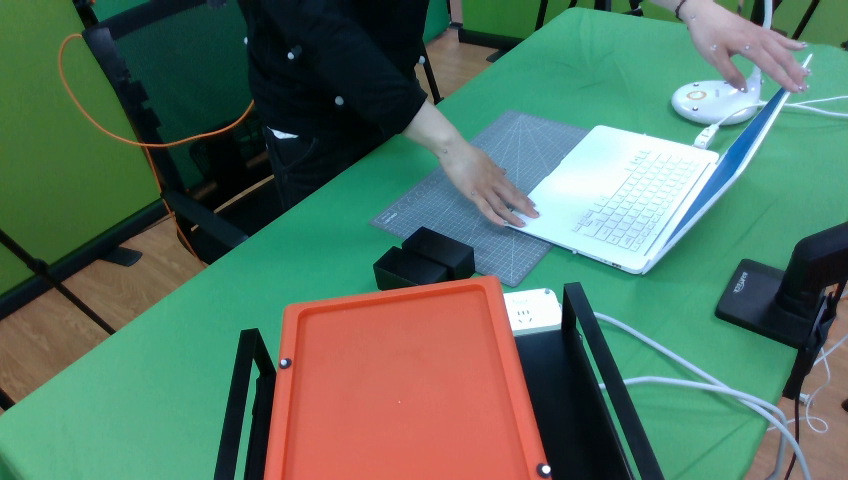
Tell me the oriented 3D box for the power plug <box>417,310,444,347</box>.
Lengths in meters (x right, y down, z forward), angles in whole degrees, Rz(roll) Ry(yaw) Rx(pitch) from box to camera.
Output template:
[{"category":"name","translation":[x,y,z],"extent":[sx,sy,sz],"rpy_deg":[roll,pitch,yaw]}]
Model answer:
[{"category":"power plug","translation":[0.007,0.123,0.784],"extent":[0.035,0.053,0.072],"rpy_deg":[-1,42,8]}]

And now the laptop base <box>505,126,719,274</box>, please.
[{"category":"laptop base","translation":[0.326,-0.083,1.028],"extent":[0.233,0.023,0.355],"rpy_deg":[21,48,32]}]

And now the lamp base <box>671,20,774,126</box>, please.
[{"category":"lamp base","translation":[0.581,-0.332,1.154],"extent":[0.179,0.181,0.160],"rpy_deg":[2,42,7]}]

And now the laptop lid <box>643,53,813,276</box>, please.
[{"category":"laptop lid","translation":[0.443,-0.111,0.876],"extent":[0.013,0.242,0.357],"rpy_deg":[37,53,13]}]

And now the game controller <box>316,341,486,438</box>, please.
[{"category":"game controller","translation":[-0.021,0.120,0.534],"extent":[0.155,0.052,0.096],"rpy_deg":[-4,36,0]}]

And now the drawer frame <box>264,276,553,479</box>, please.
[{"category":"drawer frame","translation":[-0.016,0.137,0.490],"extent":[0.202,0.083,0.212],"rpy_deg":[-8,41,-1]}]

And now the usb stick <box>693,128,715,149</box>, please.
[{"category":"usb stick","translation":[0.501,-0.176,1.091],"extent":[0.021,0.027,0.059],"rpy_deg":[30,56,28]}]

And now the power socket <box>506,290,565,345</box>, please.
[{"category":"power socket","translation":[0.081,0.112,0.822],"extent":[0.227,0.033,0.072],"rpy_deg":[-7,40,0]}]

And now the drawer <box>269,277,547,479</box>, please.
[{"category":"drawer","translation":[-0.018,0.137,0.493],"extent":[0.195,0.073,0.210],"rpy_deg":[-7,41,-1]}]
